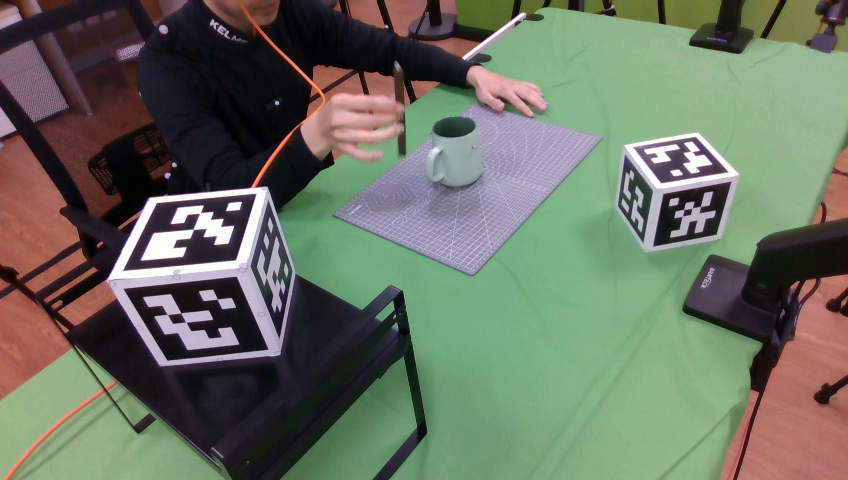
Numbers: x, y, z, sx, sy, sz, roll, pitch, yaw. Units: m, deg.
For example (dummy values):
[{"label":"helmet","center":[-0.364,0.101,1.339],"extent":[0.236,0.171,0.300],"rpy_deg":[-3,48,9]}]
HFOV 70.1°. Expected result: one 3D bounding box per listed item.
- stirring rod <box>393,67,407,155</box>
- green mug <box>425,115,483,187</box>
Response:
[{"label":"stirring rod","center":[-0.035,-0.184,0.889],"extent":[0.014,0.177,0.006],"rpy_deg":[-5,57,-3]},{"label":"green mug","center":[0.047,-0.148,1.068],"extent":[0.092,0.105,0.125],"rpy_deg":[24,49,32]}]
